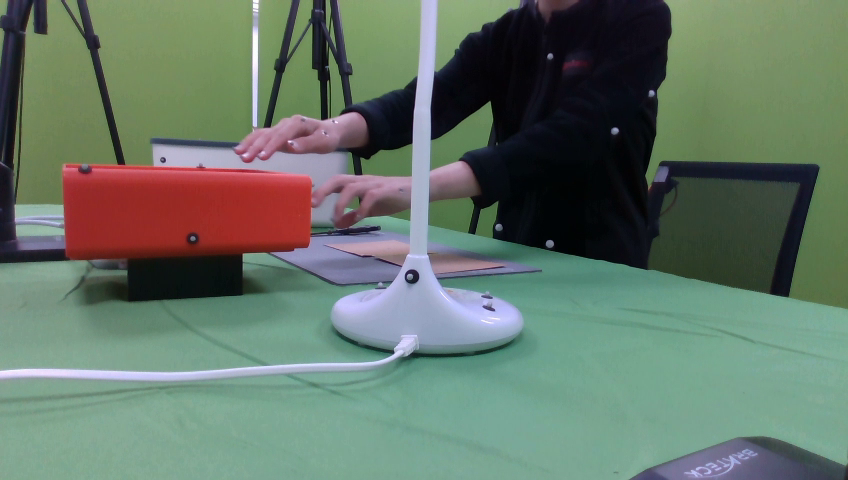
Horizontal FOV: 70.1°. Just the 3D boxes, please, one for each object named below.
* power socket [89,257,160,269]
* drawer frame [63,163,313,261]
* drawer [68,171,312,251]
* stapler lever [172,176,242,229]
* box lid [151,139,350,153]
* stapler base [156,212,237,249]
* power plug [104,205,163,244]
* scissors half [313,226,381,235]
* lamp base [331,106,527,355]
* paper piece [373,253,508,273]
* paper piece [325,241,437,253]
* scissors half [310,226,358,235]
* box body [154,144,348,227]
[{"bbox_3d":[-0.409,0.004,0.793,0.072,0.032,0.225,-2,8,-38],"label":"power socket"},{"bbox_3d":[-0.248,-0.036,0.626,0.215,0.082,0.200,-3,9,-31],"label":"drawer frame"},{"bbox_3d":[-0.247,-0.036,0.629,0.213,0.073,0.193,-3,10,-30],"label":"drawer"},{"bbox_3d":[-0.217,-0.041,0.618,0.027,0.040,0.118,18,11,-2],"label":"stapler lever"},{"bbox_3d":[-0.352,-0.191,1.255,0.373,0.015,0.262,0,8,-18],"label":"box lid"},{"bbox_3d":[-0.227,-0.017,0.624,0.041,0.024,0.130,18,10,-2],"label":"stapler base"},{"bbox_3d":[-0.390,-0.021,0.815,0.073,0.052,0.035,-1,7,-27],"label":"power plug"},{"bbox_3d":[-0.153,-0.015,1.079,0.176,0.013,0.040,-7,2,-33],"label":"scissors half"},{"bbox_3d":[0.006,-0.012,0.478,0.161,0.180,0.179,2,10,2],"label":"lamp base"},{"bbox_3d":[0.021,0.029,0.829,0.139,0.008,0.135,-1,11,-36],"label":"paper piece"},{"bbox_3d":[-0.068,0.010,0.937,0.136,0.004,0.134,-1,7,-34],"label":"paper piece"},{"bbox_3d":[-0.166,-0.015,1.094,0.040,0.013,0.176,3,7,39],"label":"scissors half"},{"bbox_3d":[-0.357,-0.119,1.264,0.365,0.160,0.253,0,7,-18],"label":"box body"}]
